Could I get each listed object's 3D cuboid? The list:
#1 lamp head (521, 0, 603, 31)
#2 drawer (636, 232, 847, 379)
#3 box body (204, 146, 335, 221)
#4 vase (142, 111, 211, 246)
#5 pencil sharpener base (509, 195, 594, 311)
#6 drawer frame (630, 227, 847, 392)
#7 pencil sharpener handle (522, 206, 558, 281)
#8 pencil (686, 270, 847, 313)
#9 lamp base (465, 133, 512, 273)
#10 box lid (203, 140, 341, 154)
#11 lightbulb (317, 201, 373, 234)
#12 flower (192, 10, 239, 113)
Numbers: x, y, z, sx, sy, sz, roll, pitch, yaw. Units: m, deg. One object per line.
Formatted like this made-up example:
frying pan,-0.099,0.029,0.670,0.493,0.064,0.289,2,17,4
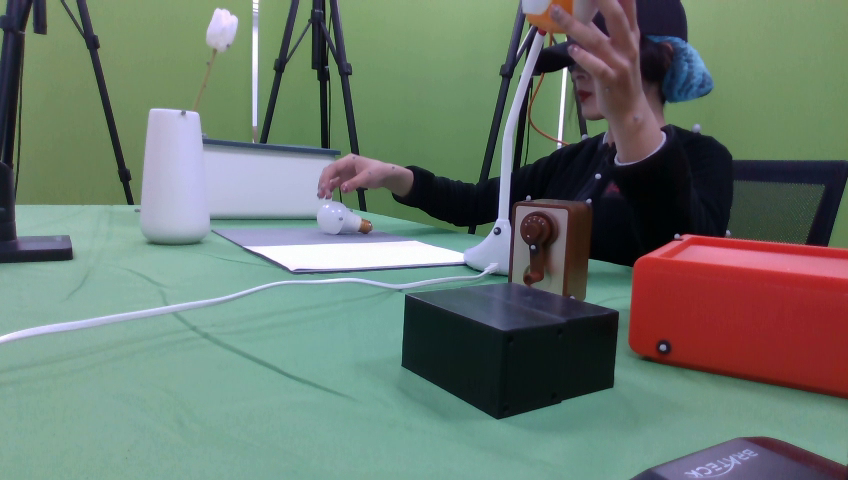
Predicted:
lamp head,0.147,-0.281,0.626,0.112,0.123,0.112,12,19,-4
drawer,0.292,0.045,0.488,0.193,0.073,0.213,7,9,30
box body,-0.411,-0.135,1.386,0.366,0.160,0.253,-2,9,-29
vase,-0.378,-0.093,0.920,0.098,0.200,0.098,2,9,0
pencil sharpener base,0.126,0.011,0.601,0.061,0.107,0.077,6,9,30
drawer frame,0.292,0.043,0.484,0.201,0.082,0.214,7,9,29
pencil sharpener handle,0.102,0.003,0.555,0.036,0.067,0.031,0,5,31
pencil,0.308,0.045,0.516,0.194,0.012,0.012,13,5,-12
lamp base,0.132,-0.052,0.808,0.160,0.180,0.180,6,13,26
box lid,-0.396,-0.212,1.373,0.373,0.015,0.262,-1,9,-29
lightbulb,-0.143,-0.036,1.109,0.108,0.059,0.059,16,0,-28
flower,-0.354,-0.174,0.915,0.038,0.361,0.044,18,-3,11
